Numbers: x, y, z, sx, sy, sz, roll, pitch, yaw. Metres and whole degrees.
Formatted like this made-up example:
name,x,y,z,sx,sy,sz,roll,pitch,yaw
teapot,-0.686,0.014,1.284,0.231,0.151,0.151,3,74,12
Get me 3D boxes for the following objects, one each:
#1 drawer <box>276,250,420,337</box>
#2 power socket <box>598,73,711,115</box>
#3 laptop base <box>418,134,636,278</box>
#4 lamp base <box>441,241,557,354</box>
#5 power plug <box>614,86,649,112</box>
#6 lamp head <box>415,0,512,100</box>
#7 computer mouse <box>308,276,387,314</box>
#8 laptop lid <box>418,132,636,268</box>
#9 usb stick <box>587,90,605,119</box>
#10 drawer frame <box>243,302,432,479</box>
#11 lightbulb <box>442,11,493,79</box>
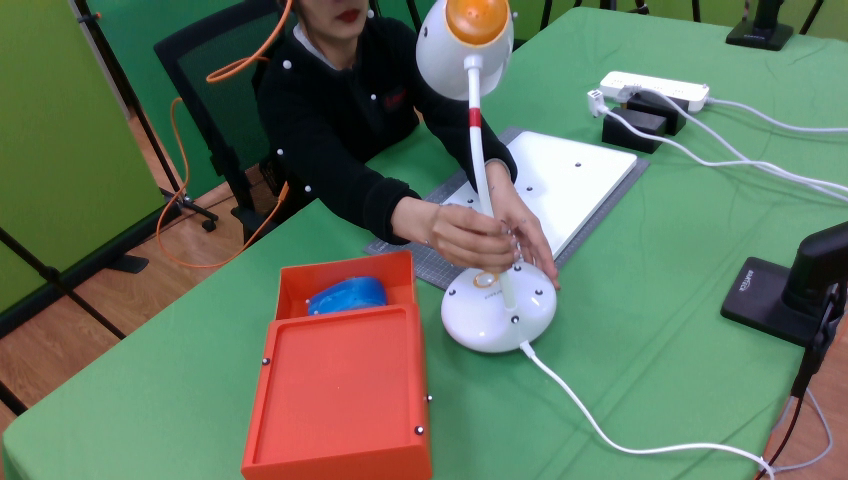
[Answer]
name,x,y,z,sx,sy,sz,roll,pitch,yaw
drawer,-0.102,0.118,0.825,0.194,0.073,0.210,-8,40,1
power socket,0.469,-0.304,1.249,0.225,0.033,0.072,20,49,30
laptop base,0.184,-0.074,1.041,0.233,0.023,0.355,19,47,35
lamp base,0.088,0.037,0.769,0.161,0.181,0.177,-28,44,-10
power plug,0.406,-0.275,1.192,0.035,0.053,0.072,-16,23,-16
lamp head,0.048,-0.220,0.664,0.112,0.112,0.122,-13,1,-4
computer mouse,-0.112,0.090,0.881,0.117,0.041,0.062,-16,41,-1
laptop lid,0.181,-0.083,1.036,0.239,0.013,0.358,22,49,35
usb stick,0.334,-0.258,1.170,0.021,0.059,0.027,-28,44,-5
drawer frame,-0.096,0.185,0.738,0.202,0.083,0.212,-8,40,1
lightbulb,0.051,-0.225,0.688,0.059,0.108,0.059,0,81,1
